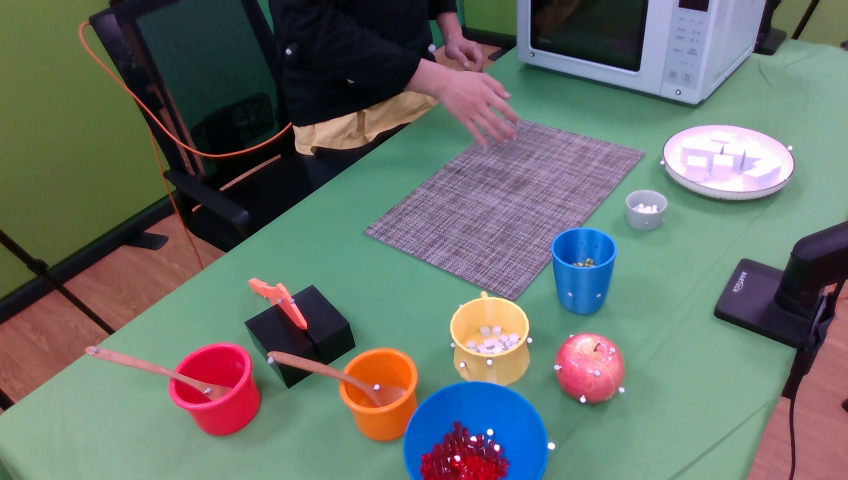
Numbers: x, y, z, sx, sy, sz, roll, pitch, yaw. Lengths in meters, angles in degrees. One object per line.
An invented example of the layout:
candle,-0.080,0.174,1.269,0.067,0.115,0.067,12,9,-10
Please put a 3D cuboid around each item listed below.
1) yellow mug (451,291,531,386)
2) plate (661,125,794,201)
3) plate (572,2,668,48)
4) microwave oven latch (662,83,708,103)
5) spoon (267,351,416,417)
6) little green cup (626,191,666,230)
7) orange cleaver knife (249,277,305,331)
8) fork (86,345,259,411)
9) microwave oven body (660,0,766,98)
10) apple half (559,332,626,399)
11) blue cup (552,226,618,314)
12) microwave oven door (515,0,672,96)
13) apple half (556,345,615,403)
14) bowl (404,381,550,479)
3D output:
yellow mug,0.086,0.120,0.786,0.100,0.064,0.130,-7,39,1
plate,0.513,-0.128,1.035,0.207,0.039,0.206,-4,40,4
plate,0.440,-0.482,1.367,0.209,0.038,0.208,-4,41,4
microwave oven latch,0.517,-0.296,1.204,0.078,0.029,0.030,27,52,35
spoon,-0.091,0.163,0.699,0.021,0.195,0.041,-44,30,27
little green cup,0.352,-0.046,0.963,0.061,0.039,0.061,-4,40,4
orange cleaver knife,-0.210,0.088,0.855,0.012,0.077,0.210,-28,15,-24
fork,-0.298,0.167,0.728,0.209,0.018,0.028,28,47,-23
microwave oven body,0.472,-0.513,1.317,0.438,0.261,0.327,26,51,34
apple half,0.209,0.147,0.730,0.080,0.075,0.053,26,48,38
blue cup,0.218,0.047,0.826,0.092,0.101,0.092,-6,40,5
microwave oven door,0.343,-0.455,1.259,0.353,0.245,0.039,26,51,33
apple half,0.181,0.167,0.709,0.080,0.081,0.033,29,50,35
bowl,0.058,0.235,0.645,0.151,0.077,0.150,-4,39,4
